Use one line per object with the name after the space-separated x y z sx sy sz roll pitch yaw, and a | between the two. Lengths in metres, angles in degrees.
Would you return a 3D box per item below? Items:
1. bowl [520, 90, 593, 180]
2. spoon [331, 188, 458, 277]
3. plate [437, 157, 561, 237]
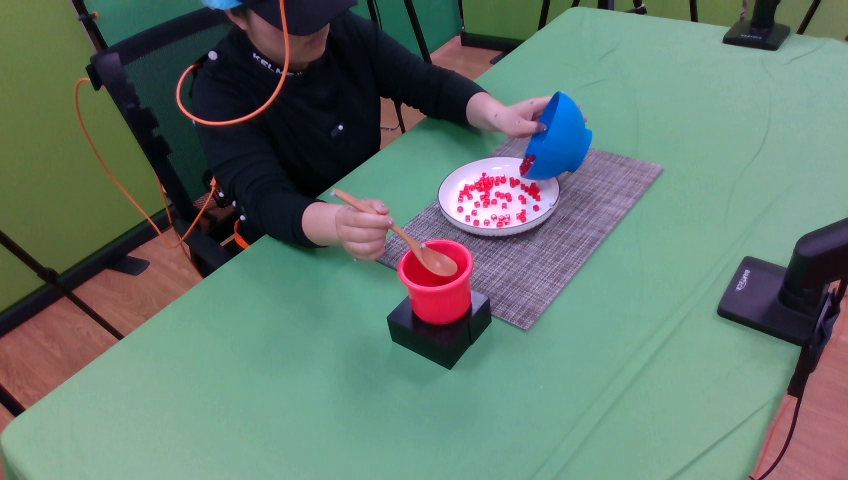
0.224 -0.159 0.989 0.077 0.151 0.151 21 44 -3 | bowl
-0.037 -0.011 0.776 0.194 0.021 0.041 38 41 -14 | spoon
0.127 -0.070 1.023 0.207 0.039 0.206 -5 40 5 | plate
